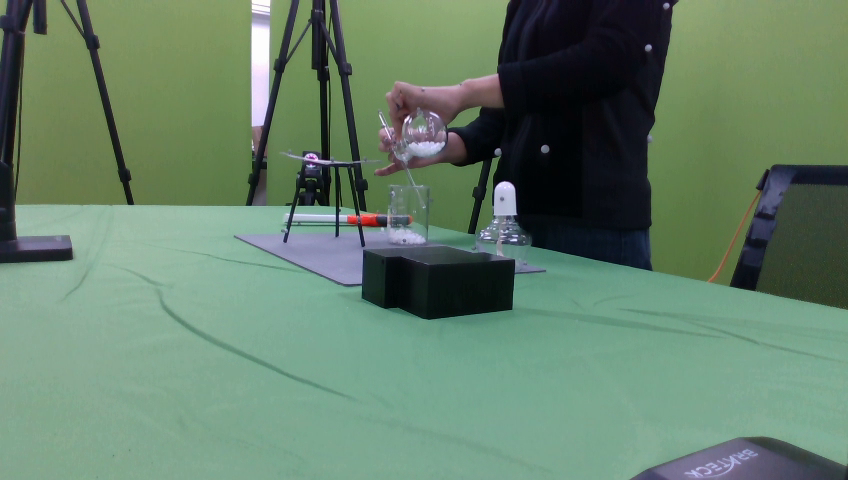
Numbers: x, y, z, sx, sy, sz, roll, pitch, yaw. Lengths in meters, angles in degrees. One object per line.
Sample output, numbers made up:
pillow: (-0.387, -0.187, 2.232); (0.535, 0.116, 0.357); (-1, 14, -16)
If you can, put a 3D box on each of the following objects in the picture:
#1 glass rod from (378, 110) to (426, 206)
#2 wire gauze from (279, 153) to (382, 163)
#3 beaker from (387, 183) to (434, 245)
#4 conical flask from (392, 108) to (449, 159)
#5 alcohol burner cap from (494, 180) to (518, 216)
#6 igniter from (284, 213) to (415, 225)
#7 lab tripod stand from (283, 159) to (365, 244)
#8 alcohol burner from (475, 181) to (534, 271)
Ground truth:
glass rod: (-0.039, -0.141, 1.021); (0.008, 0.199, 0.008); (-22, -20, -8)
wire gauze: (-0.149, -0.129, 0.974); (0.124, 0.011, 0.122); (10, 9, 41)
beaker: (-0.027, -0.044, 1.012); (0.074, 0.100, 0.083); (-2, 8, -35)
conical flask: (-0.014, -0.158, 0.963); (0.075, 0.075, 0.121); (-1, -4, -20)
alcohol burner cap: (0.108, -0.055, 0.800); (0.034, 0.048, 0.034); (-2, 4, 0)
igniter: (-0.154, -0.045, 1.282); (0.278, 0.025, 0.057); (0, -3, -20)
lab tripod stand: (-0.151, -0.063, 0.983); (0.148, 0.131, 0.148); (4, 7, 0)
alcohol burner: (0.108, -0.020, 0.804); (0.078, 0.119, 0.078); (3, 5, 0)
